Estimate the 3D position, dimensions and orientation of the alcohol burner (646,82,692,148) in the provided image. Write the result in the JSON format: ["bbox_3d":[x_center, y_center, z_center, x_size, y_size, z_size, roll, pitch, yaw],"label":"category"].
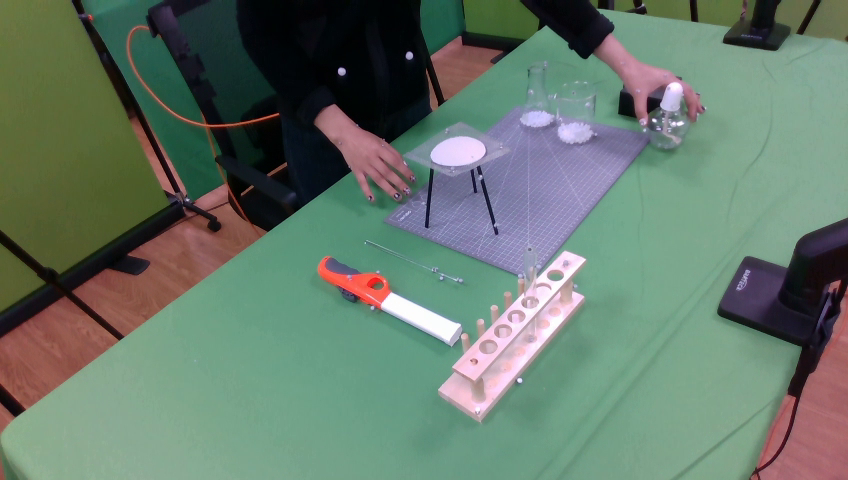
[{"bbox_3d":[0.432,-0.223,1.063,0.078,0.120,0.077,-7,42,7],"label":"alcohol burner"}]

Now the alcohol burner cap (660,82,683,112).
[{"bbox_3d":[0.427,-0.247,1.037,0.034,0.048,0.033,-3,50,4],"label":"alcohol burner cap"}]

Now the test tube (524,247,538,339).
[{"bbox_3d":[0.133,0.070,0.749,0.017,0.151,0.017,-5,38,4],"label":"test tube"}]

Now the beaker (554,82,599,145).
[{"bbox_3d":[0.286,-0.236,1.144,0.084,0.101,0.073,-17,40,-7],"label":"beaker"}]

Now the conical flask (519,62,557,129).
[{"bbox_3d":[0.225,-0.288,1.199,0.075,0.122,0.075,-6,40,5],"label":"conical flask"}]

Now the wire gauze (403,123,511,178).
[{"bbox_3d":[0.051,-0.140,0.943,0.125,0.011,0.120,-30,43,-24],"label":"wire gauze"}]

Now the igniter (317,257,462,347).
[{"bbox_3d":[-0.061,0.086,0.891,0.274,0.025,0.057,23,59,33],"label":"igniter"}]

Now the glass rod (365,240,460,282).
[{"bbox_3d":[-0.022,0.032,0.962,0.198,0.008,0.008,21,49,35],"label":"glass rod"}]

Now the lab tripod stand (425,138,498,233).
[{"bbox_3d":[0.063,-0.091,0.988,0.148,0.132,0.147,-6,38,6],"label":"lab tripod stand"}]

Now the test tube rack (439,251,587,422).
[{"bbox_3d":[0.118,0.111,0.780,0.066,0.085,0.243,26,51,35],"label":"test tube rack"}]
